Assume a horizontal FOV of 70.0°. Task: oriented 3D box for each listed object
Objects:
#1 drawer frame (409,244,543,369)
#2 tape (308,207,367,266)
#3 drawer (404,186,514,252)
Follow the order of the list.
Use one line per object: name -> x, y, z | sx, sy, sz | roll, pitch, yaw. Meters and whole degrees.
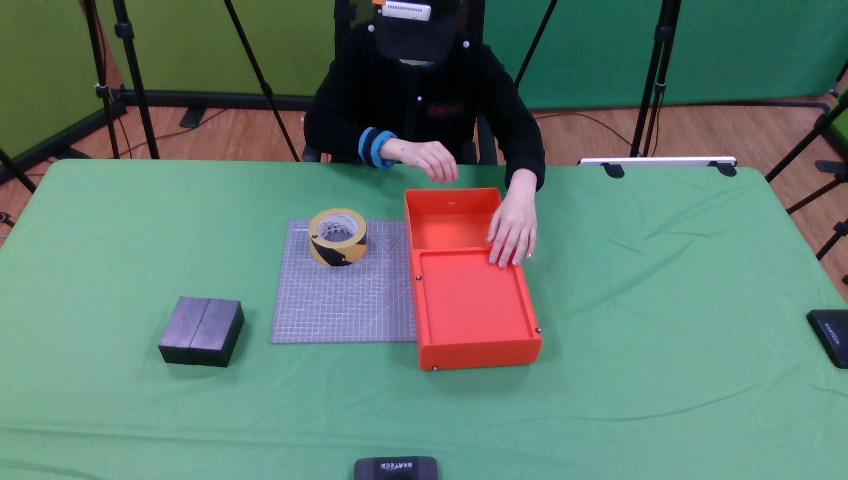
drawer frame -> 0.082, 0.110, 1.052 | 0.202, 0.083, 0.212 | -2, 47, -7
tape -> -0.167, -0.008, 1.167 | 0.117, 0.053, 0.116 | 3, 46, -3
drawer -> 0.065, -0.010, 1.171 | 0.195, 0.073, 0.210 | -1, 46, -7
